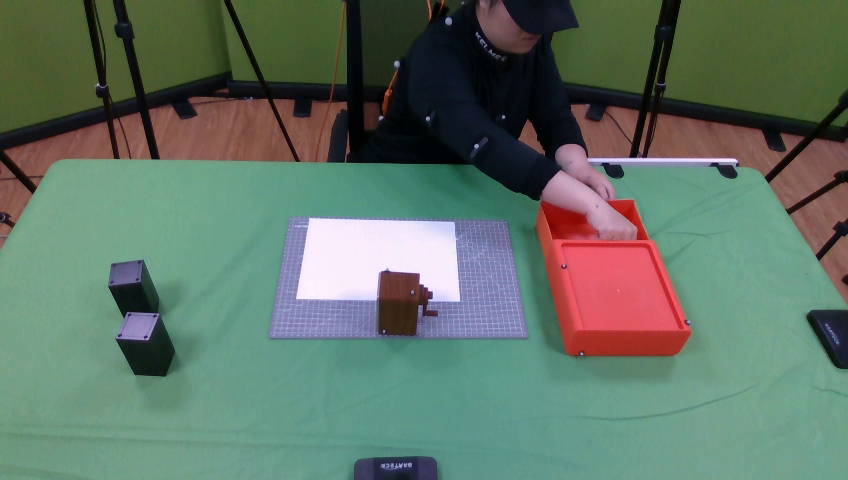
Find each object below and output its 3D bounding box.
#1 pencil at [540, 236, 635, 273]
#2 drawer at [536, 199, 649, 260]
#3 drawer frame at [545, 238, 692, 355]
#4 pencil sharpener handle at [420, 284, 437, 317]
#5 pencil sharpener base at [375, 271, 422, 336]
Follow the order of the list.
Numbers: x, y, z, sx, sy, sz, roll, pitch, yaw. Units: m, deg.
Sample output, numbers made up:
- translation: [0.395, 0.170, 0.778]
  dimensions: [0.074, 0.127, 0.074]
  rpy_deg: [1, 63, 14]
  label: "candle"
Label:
- translation: [0.323, 0.029, 1.199]
  dimensions: [0.194, 0.012, 0.012]
  rpy_deg: [21, 48, 11]
  label: "pencil"
- translation: [0.333, 0.015, 1.170]
  dimensions: [0.195, 0.073, 0.210]
  rpy_deg: [0, 46, -5]
  label: "drawer"
- translation: [0.338, 0.097, 1.086]
  dimensions: [0.202, 0.083, 0.212]
  rpy_deg: [0, 46, -4]
  label: "drawer frame"
- translation: [0.009, 0.104, 1.016]
  dimensions: [0.030, 0.068, 0.036]
  rpy_deg: [3, 38, -2]
  label: "pencil sharpener handle"
- translation: [-0.043, 0.109, 1.024]
  dimensions: [0.077, 0.107, 0.061]
  rpy_deg: [3, 45, -2]
  label: "pencil sharpener base"
